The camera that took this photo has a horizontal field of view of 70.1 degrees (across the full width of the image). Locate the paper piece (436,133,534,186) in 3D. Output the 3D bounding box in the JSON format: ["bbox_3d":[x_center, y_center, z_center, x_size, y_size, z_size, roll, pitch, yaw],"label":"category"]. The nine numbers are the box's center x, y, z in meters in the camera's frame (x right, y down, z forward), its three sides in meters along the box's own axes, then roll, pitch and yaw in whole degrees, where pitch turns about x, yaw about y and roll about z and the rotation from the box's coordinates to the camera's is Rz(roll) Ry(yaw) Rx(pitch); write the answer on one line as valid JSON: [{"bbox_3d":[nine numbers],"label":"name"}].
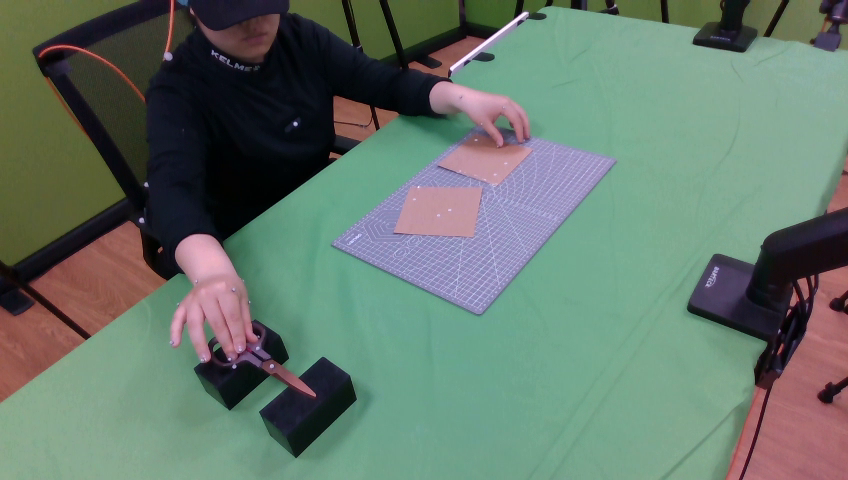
[{"bbox_3d":[0.116,-0.156,1.144,0.135,0.009,0.138,25,48,27],"label":"paper piece"}]

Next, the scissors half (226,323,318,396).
[{"bbox_3d":[-0.189,0.148,0.755,0.173,0.013,0.040,29,51,35],"label":"scissors half"}]

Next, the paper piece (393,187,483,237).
[{"bbox_3d":[0.027,-0.051,1.033,0.135,0.004,0.135,3,41,12],"label":"paper piece"}]

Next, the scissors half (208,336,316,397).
[{"bbox_3d":[-0.201,0.158,0.742,0.174,0.013,0.040,16,39,24],"label":"scissors half"}]
